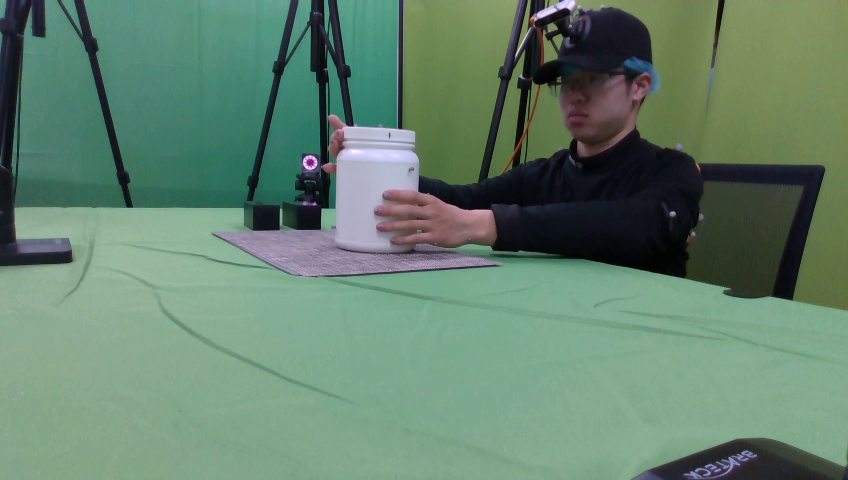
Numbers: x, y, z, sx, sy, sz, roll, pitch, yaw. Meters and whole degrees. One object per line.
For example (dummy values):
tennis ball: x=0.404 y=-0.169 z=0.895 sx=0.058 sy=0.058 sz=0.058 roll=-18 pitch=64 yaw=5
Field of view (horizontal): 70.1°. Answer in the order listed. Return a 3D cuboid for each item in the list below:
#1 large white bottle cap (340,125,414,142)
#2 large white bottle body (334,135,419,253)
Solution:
large white bottle cap: x=-0.072 y=-0.166 z=0.940 sx=0.115 sy=0.018 sz=0.115 roll=4 pitch=8 yaw=0
large white bottle body: x=-0.074 y=-0.080 z=0.951 sx=0.131 sy=0.184 sz=0.130 roll=2 pitch=8 yaw=0
